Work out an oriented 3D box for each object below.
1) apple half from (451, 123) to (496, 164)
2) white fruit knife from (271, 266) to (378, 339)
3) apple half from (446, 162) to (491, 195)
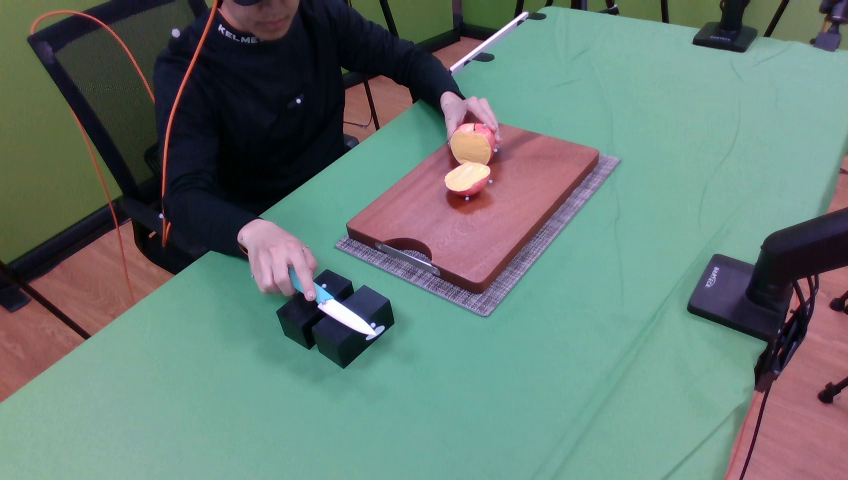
[{"bbox_3d":[0.093,-0.173,1.073,0.080,0.075,0.053,11,40,25],"label":"apple half"},{"bbox_3d":[-0.136,0.083,0.823,0.205,0.016,0.027,28,62,32],"label":"white fruit knife"},{"bbox_3d":[0.076,-0.099,1.020,0.081,0.033,0.081,-16,36,12],"label":"apple half"}]
